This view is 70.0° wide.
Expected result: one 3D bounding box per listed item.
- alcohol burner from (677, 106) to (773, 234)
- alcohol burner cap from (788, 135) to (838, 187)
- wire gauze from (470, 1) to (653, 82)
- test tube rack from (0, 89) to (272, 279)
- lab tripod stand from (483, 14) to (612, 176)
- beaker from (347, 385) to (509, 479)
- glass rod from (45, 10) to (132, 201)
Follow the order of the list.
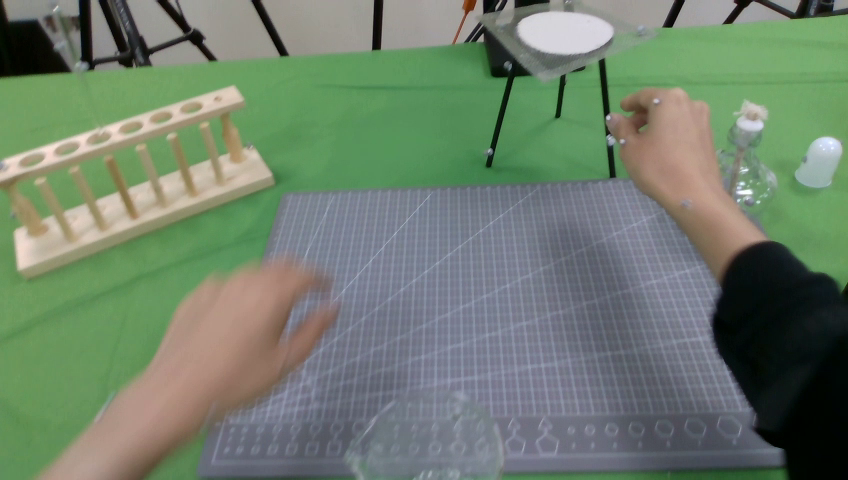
[{"bbox_3d":[0.260,-0.063,0.515,0.078,0.120,0.077,-2,46,3],"label":"alcohol burner"},{"bbox_3d":[0.373,-0.078,0.577,0.034,0.048,0.033,-2,43,3],"label":"alcohol burner cap"},{"bbox_3d":[0.122,-0.189,0.553,0.121,0.011,0.123,-20,46,-16],"label":"wire gauze"},{"bbox_3d":[-0.282,-0.059,0.587,0.242,0.086,0.066,-24,47,-19],"label":"test tube rack"},{"bbox_3d":[0.131,-0.142,0.600,0.148,0.133,0.147,-1,43,2],"label":"lab tripod stand"},{"bbox_3d":[0.005,0.141,0.342,0.084,0.101,0.073,0,44,6],"label":"beaker"},{"bbox_3d":[-0.296,-0.107,0.542,0.008,0.201,0.008,1,44,-1],"label":"glass rod"}]
